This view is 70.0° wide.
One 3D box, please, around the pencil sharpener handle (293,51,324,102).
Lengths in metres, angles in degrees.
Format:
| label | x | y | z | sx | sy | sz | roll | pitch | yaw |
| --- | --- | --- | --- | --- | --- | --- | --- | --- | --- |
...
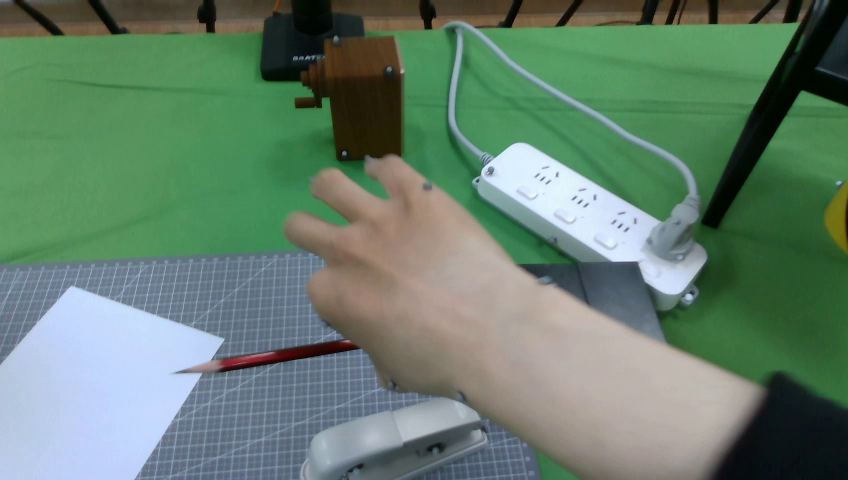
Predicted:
| label | x | y | z | sx | sy | sz | roll | pitch | yaw |
| --- | --- | --- | --- | --- | --- | --- | --- | --- | --- |
| pencil sharpener handle | -0.111 | -0.149 | 0.572 | 0.031 | 0.068 | 0.036 | -5 | 74 | -7 |

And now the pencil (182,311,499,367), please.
| label | x | y | z | sx | sy | sz | roll | pitch | yaw |
| --- | --- | --- | --- | --- | --- | --- | --- | --- | --- |
| pencil | -0.037 | 0.057 | 0.351 | 0.195 | 0.012 | 0.012 | -4 | 50 | -29 |

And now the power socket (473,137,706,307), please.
| label | x | y | z | sx | sy | sz | roll | pitch | yaw |
| --- | --- | --- | --- | --- | --- | --- | --- | --- | --- |
| power socket | 0.148 | -0.022 | 0.554 | 0.225 | 0.033 | 0.072 | 36 | 57 | 23 |

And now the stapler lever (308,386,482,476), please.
| label | x | y | z | sx | sy | sz | roll | pitch | yaw |
| --- | --- | --- | --- | --- | --- | --- | --- | --- | --- |
| stapler lever | -0.018 | 0.123 | 0.398 | 0.118 | 0.040 | 0.026 | -16 | 56 | -17 |

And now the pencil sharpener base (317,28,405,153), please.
| label | x | y | z | sx | sy | sz | roll | pitch | yaw |
| --- | --- | --- | --- | --- | --- | --- | --- | --- | --- |
| pencil sharpener base | -0.060 | -0.141 | 0.585 | 0.077 | 0.108 | 0.060 | -5 | 53 | -7 |

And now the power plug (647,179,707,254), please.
| label | x | y | z | sx | sy | sz | roll | pitch | yaw |
| --- | --- | --- | --- | --- | --- | --- | --- | --- | --- |
| power plug | 0.223 | -0.013 | 0.521 | 0.072 | 0.053 | 0.035 | -30 | 59 | -23 |

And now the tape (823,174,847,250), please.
| label | x | y | z | sx | sy | sz | roll | pitch | yaw |
| --- | --- | --- | --- | --- | --- | --- | --- | --- | --- |
| tape | 0.445 | -0.027 | 0.565 | 0.117 | 0.053 | 0.115 | 2 | 53 | -2 |

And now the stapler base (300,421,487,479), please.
| label | x | y | z | sx | sy | sz | roll | pitch | yaw |
| --- | --- | --- | --- | --- | --- | --- | --- | --- | --- |
| stapler base | -0.020 | 0.139 | 0.417 | 0.131 | 0.024 | 0.041 | -16 | 56 | -17 |
